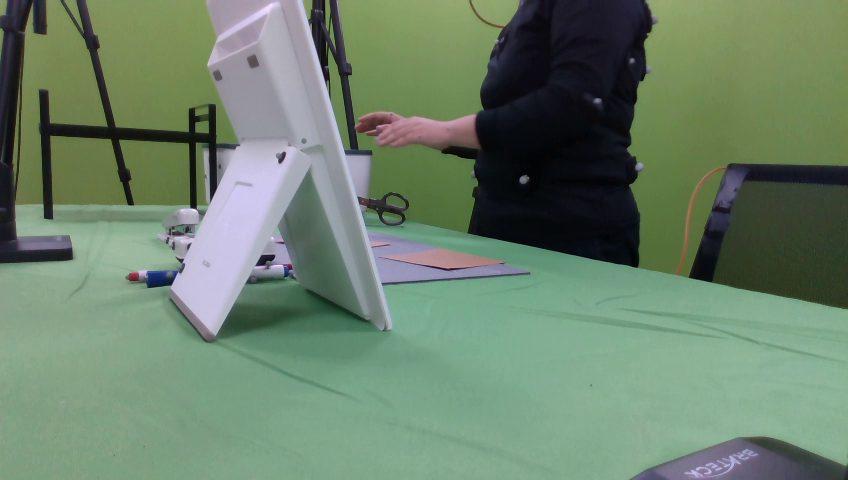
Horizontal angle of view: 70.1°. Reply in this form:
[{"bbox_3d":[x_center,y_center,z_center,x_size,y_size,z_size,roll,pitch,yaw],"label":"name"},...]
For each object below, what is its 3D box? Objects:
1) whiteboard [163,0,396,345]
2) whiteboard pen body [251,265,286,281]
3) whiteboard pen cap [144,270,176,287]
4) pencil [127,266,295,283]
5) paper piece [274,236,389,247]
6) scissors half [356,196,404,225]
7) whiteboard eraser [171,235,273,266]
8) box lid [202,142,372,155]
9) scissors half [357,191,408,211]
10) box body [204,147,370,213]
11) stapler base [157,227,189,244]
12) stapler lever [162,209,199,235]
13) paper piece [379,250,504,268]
[{"bbox_3d":[-0.173,-0.053,0.511,0.144,0.305,0.216,-23,19,-26],"label":"whiteboard"},{"bbox_3d":[-0.220,0.039,0.656,0.141,0.017,0.017,-2,9,-31],"label":"whiteboard pen body"},{"bbox_3d":[-0.271,0.039,0.627,0.033,0.018,0.018,-3,10,-32],"label":"whiteboard pen cap"},{"bbox_3d":[-0.231,0.037,0.690,0.195,0.012,0.012,-2,9,-34],"label":"pencil"},{"bbox_3d":[-0.151,0.003,0.978,0.135,0.008,0.139,13,10,35],"label":"paper piece"},{"bbox_3d":[-0.127,-0.072,1.320,0.175,0.040,0.013,22,7,-6],"label":"scissors half"},{"bbox_3d":[-0.248,0.014,0.747,0.113,0.042,0.055,-1,10,-32],"label":"whiteboard eraser"},{"bbox_3d":[-0.344,-0.225,1.509,0.373,0.015,0.262,-2,8,-31],"label":"box lid"},{"bbox_3d":[-0.122,-0.092,1.316,0.175,0.040,0.013,6,14,-3],"label":"scissors half"},{"bbox_3d":[-0.347,-0.152,1.519,0.366,0.160,0.253,-2,9,-31],"label":"box body"},{"bbox_3d":[-0.376,-0.007,0.935,0.041,0.024,0.130,1,5,-38],"label":"stapler base"},{"bbox_3d":[-0.376,-0.031,0.933,0.027,0.040,0.117,0,7,-38],"label":"stapler lever"},{"bbox_3d":[0.026,0.026,0.865,0.134,0.004,0.136,9,8,43],"label":"paper piece"}]
